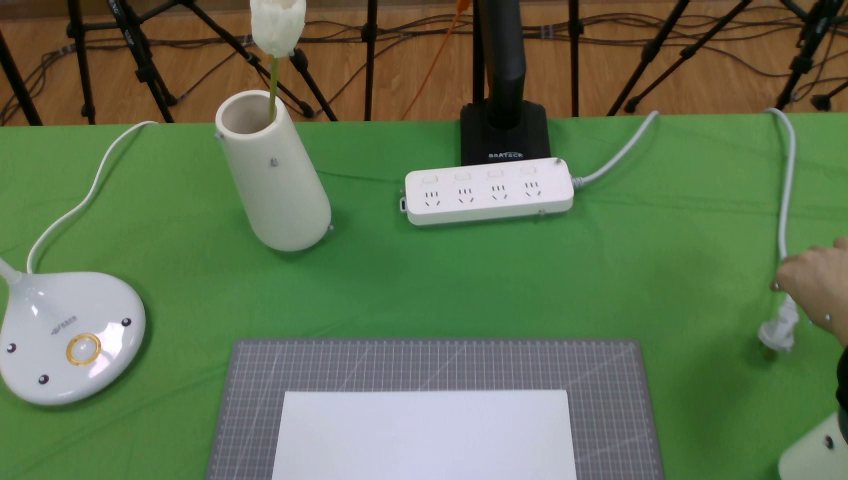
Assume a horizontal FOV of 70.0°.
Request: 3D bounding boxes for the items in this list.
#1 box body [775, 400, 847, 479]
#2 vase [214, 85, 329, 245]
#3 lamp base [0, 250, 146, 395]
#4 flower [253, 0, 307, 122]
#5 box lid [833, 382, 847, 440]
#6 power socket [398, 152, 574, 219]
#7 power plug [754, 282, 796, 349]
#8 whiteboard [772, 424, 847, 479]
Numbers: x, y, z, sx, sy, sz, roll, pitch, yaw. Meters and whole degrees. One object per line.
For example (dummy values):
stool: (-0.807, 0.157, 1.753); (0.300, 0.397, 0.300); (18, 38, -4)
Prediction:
box body: (0.495, 0.262, 0.460); (0.254, 0.162, 0.360); (-18, 58, -9)
vase: (-0.171, -0.079, 0.687); (0.098, 0.202, 0.097); (-2, 57, 3)
lamp base: (-0.412, 0.052, 0.627); (0.178, 0.182, 0.160); (28, 63, 23)
flower: (-0.156, -0.116, 0.613); (0.044, 0.363, 0.038); (-39, 80, -29)
box lid: (0.491, 0.219, 0.398); (0.263, 0.015, 0.367); (-19, 59, -8)
power socket: (0.079, -0.069, 0.768); (0.227, 0.033, 0.071); (-5, 58, -1)
power plug: (0.382, 0.086, 0.652); (0.072, 0.053, 0.035); (-27, 55, -38)
whiteboard: (0.494, 0.257, 0.477); (0.217, 0.145, 0.302); (-18, 58, -12)
